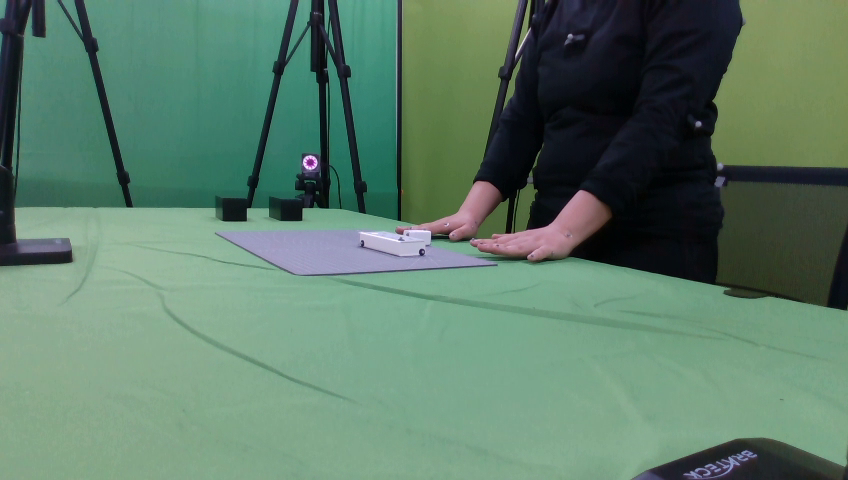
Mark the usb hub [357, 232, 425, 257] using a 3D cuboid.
[{"bbox_3d":[-0.055,0.005,0.947,0.050,0.025,0.124,-3,9,-36],"label":"usb hub"}]

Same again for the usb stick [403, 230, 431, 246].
[{"bbox_3d":[-0.019,-0.003,1.020,0.059,0.027,0.021,-6,15,-34],"label":"usb stick"}]
